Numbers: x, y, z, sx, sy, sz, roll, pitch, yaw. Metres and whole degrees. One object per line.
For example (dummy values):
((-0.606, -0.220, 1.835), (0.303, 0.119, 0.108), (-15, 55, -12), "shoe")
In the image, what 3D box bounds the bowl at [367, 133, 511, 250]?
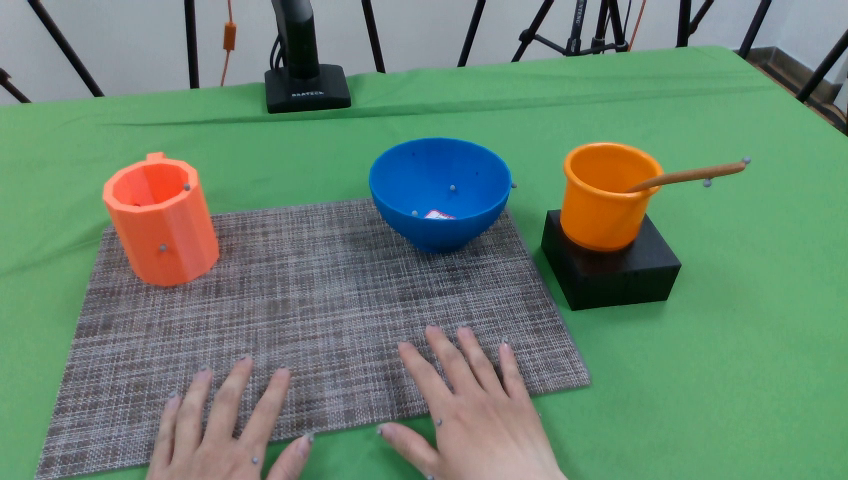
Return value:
((0.015, -0.043, 0.653), (0.151, 0.077, 0.150), (1, 42, -1), "bowl")

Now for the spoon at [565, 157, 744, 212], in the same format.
((0.196, -0.049, 0.544), (0.041, 0.193, 0.021), (-27, 93, -27), "spoon")

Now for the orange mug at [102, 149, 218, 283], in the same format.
((-0.266, -0.033, 0.618), (0.083, 0.101, 0.125), (-12, 48, -14), "orange mug")
